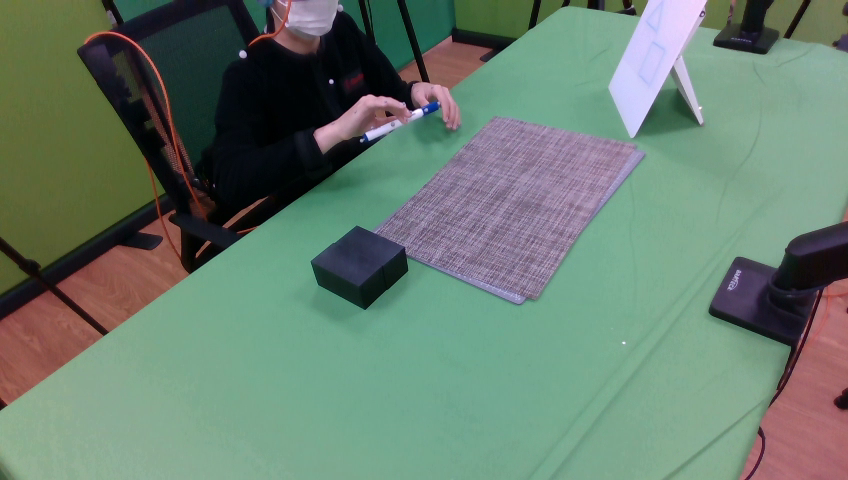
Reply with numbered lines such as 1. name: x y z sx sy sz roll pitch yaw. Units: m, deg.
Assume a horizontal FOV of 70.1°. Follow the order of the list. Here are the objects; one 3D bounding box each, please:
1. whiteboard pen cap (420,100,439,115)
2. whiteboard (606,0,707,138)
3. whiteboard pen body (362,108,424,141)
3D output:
1. whiteboard pen cap: 0.009 -0.236 1.079 0.033 0.018 0.018 -26 44 -14
2. whiteboard: 0.496 -0.359 1.147 0.144 0.305 0.216 11 40 -7
3. whiteboard pen body: -0.044 -0.208 1.065 0.141 0.017 0.017 -27 44 -12
